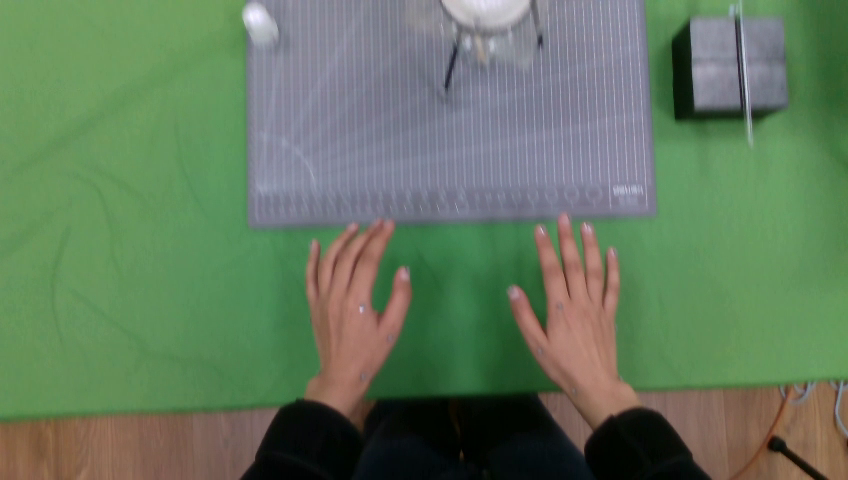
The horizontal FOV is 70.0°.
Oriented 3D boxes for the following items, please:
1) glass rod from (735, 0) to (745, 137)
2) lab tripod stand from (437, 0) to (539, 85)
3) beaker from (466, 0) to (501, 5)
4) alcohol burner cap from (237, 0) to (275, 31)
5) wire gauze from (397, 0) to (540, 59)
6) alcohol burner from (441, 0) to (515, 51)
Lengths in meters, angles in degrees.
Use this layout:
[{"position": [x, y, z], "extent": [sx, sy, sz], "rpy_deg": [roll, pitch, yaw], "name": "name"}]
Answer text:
[{"position": [0.328, -0.206, 0.629], "extent": [0.008, 0.008, 0.199], "rpy_deg": [0, 87, 0], "name": "glass rod"}, {"position": [0.055, -0.239, 0.611], "extent": [0.148, 0.131, 0.148], "rpy_deg": [0, 85, -1], "name": "lab tripod stand"}, {"position": [0.051, -0.249, 0.498], "extent": [0.074, 0.100, 0.084], "rpy_deg": [-26, 86, -3], "name": "beaker"}, {"position": [-0.183, -0.251, 0.655], "extent": [0.034, 0.048, 0.034], "rpy_deg": [0, 86, 1], "name": "alcohol burner cap"}, {"position": [0.051, -0.242, 0.546], "extent": [0.125, 0.011, 0.121], "rpy_deg": [20, 88, -2], "name": "wire gauze"}, {"position": [0.057, -0.242, 0.621], "extent": [0.078, 0.119, 0.078], "rpy_deg": [0, 86, -2], "name": "alcohol burner"}]
